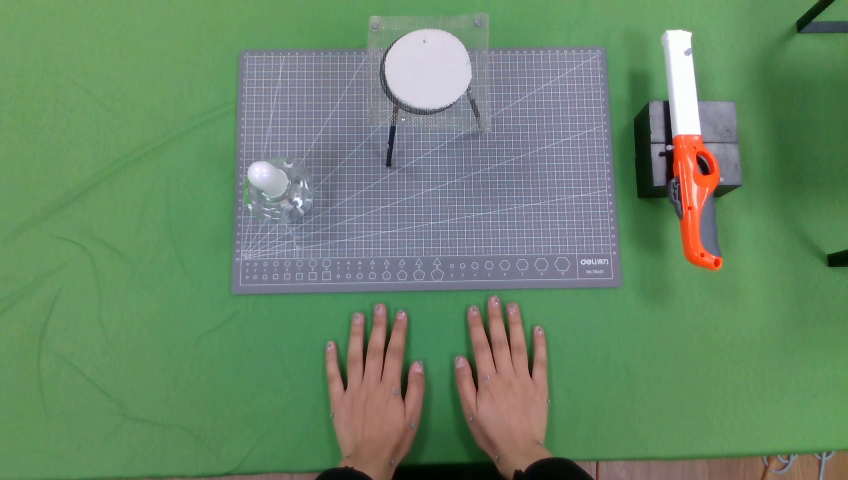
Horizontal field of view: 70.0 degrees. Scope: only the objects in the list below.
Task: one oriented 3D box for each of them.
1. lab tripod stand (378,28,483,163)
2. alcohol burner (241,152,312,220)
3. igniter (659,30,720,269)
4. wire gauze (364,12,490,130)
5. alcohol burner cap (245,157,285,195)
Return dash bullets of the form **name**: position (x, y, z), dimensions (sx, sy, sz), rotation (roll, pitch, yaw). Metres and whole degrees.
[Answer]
- **lab tripod stand**: position (-0.004, -0.162, 0.667), dimensions (0.148, 0.132, 0.148), rotation (0, 80, 1)
- **alcohol burner**: position (-0.164, -0.062, 0.657), dimensions (0.078, 0.119, 0.077), rotation (0, 82, 0)
- **igniter**: position (0.292, -0.104, 0.672), dimensions (0.057, 0.025, 0.275), rotation (-1, 78, -4)
- **wire gauze**: position (0.003, -0.170, 0.600), dimensions (0.125, 0.011, 0.121), rotation (2, 80, 0)
- **alcohol burner cap**: position (-0.165, -0.068, 0.621), dimensions (0.034, 0.048, 0.033), rotation (-1, 79, 7)
